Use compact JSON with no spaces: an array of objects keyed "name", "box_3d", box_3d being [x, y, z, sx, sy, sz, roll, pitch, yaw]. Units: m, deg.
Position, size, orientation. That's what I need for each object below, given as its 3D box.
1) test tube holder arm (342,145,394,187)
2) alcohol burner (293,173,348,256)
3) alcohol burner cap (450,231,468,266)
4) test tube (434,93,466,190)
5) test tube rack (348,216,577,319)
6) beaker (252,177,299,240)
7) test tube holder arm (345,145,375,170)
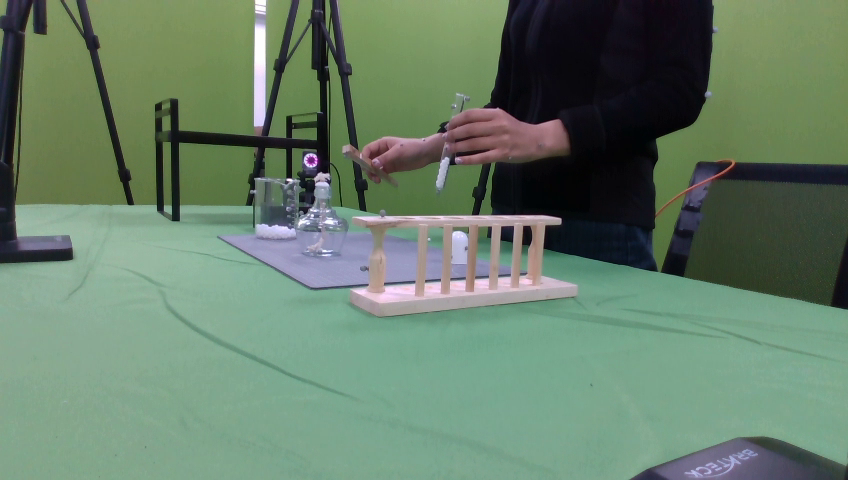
[{"name":"test tube holder arm","box_3d":[-0.101,-0.135,1.127,0.013,0.015,0.179,4,-14,25]},{"name":"alcohol burner","box_3d":[-0.147,-0.036,0.859,0.078,0.119,0.078,4,9,0]},{"name":"alcohol burner cap","box_3d":[0.046,0.012,0.839,0.034,0.048,0.034,3,6,0]},{"name":"test tube","box_3d":[0.039,-0.149,0.924,0.017,0.150,0.017,13,15,-3]},{"name":"test tube rack","box_3d":[0.048,0.021,0.619,0.244,0.085,0.066,-2,9,-31]},{"name":"beaker","box_3d":[-0.245,-0.052,1.005,0.074,0.100,0.083,-3,10,-32]},{"name":"test tube holder arm","box_3d":[-0.115,-0.147,1.085,0.010,0.015,0.088,3,-14,27]}]
